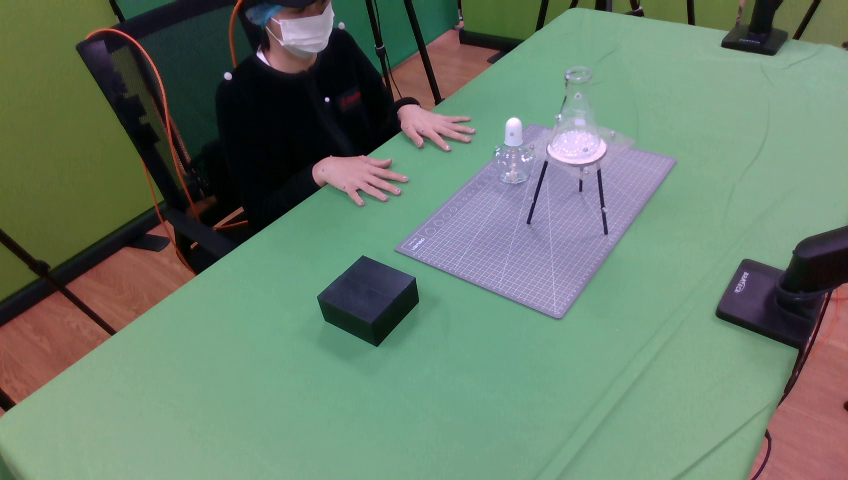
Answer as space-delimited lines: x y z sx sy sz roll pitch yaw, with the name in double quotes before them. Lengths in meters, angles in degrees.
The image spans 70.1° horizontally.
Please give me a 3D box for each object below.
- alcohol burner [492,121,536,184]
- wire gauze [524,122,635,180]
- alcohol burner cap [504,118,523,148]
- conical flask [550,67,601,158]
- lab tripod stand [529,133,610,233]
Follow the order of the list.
"alcohol burner" 0.159 -0.158 1.064 0.078 0.119 0.077 -3 41 3
"wire gauze" 0.233 -0.142 0.913 0.122 0.011 0.124 -31 43 -26
"alcohol burner cap" 0.154 -0.186 1.042 0.034 0.048 0.033 -4 33 3
"conical flask" 0.221 -0.186 0.875 0.075 0.122 0.075 -5 40 5
"lab tripod stand" 0.236 -0.089 0.953 0.148 0.132 0.147 -5 42 5
